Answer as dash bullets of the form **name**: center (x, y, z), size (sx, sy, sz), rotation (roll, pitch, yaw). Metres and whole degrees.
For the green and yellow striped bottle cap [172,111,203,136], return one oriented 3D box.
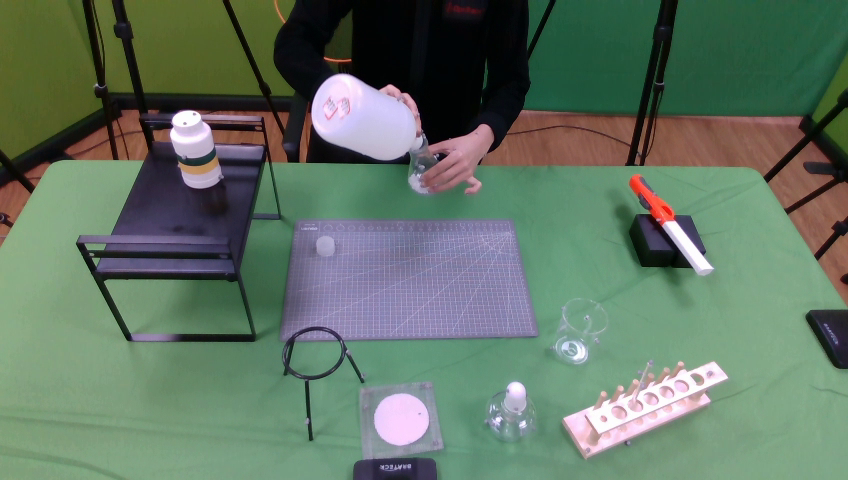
- **green and yellow striped bottle cap**: center (-0.374, -0.185, 0.957), size (0.045, 0.020, 0.045), rotation (4, 45, -3)

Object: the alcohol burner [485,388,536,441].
- **alcohol burner**: center (0.131, 0.249, 0.904), size (0.078, 0.120, 0.077), rotation (1, 48, -1)

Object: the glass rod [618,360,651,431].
- **glass rod**: center (0.298, 0.227, 0.865), size (0.008, 0.201, 0.008), rotation (-1, 47, 2)

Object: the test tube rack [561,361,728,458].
- **test tube rack**: center (0.341, 0.248, 0.940), size (0.243, 0.085, 0.066), rotation (-15, 49, -18)

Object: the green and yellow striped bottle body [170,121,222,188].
- **green and yellow striped bottle body**: center (-0.375, -0.149, 0.995), size (0.063, 0.120, 0.063), rotation (2, 46, -2)

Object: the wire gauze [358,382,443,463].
- **wire gauze**: center (-0.039, 0.276, 0.937), size (0.121, 0.011, 0.124), rotation (-4, 47, -7)

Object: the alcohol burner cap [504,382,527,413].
- **alcohol burner cap**: center (0.133, 0.225, 0.877), size (0.034, 0.048, 0.033), rotation (-4, 47, 5)

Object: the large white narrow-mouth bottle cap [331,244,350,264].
- **large white narrow-mouth bottle cap**: center (-0.160, 0.026, 1.161), size (0.038, 0.024, 0.037), rotation (4, 46, -4)

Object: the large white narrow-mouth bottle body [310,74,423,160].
- **large white narrow-mouth bottle body**: center (-0.074, -0.178, 0.938), size (0.195, 0.102, 0.101), rotation (14, 29, -49)

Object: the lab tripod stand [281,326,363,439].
- **lab tripod stand**: center (-0.166, 0.203, 0.913), size (0.148, 0.132, 0.147), rotation (1, 47, -1)

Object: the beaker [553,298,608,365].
- **beaker**: center (0.260, 0.154, 1.014), size (0.073, 0.101, 0.084), rotation (37, 54, 27)

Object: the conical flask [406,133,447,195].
- **conical flask**: center (-0.004, -0.138, 1.071), size (0.075, 0.122, 0.075), rotation (-4, 64, 8)

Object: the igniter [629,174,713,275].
- **igniter**: center (0.481, -0.040, 1.202), size (0.057, 0.025, 0.274), rotation (-2, 46, -21)
